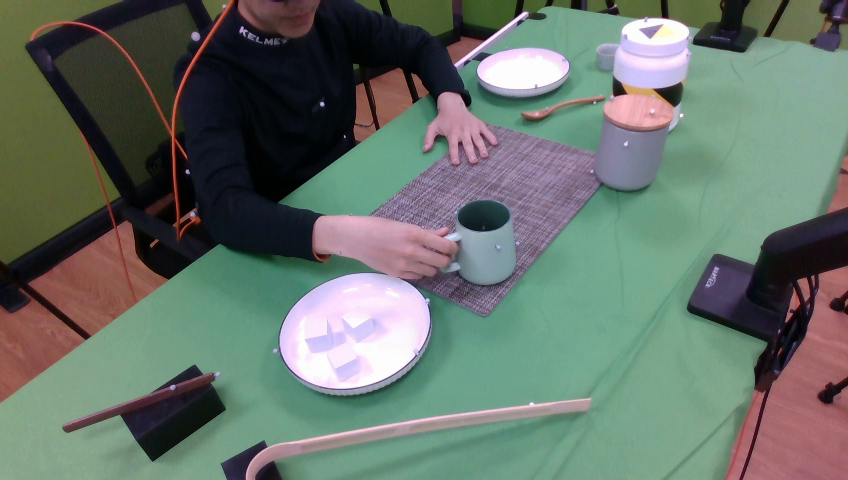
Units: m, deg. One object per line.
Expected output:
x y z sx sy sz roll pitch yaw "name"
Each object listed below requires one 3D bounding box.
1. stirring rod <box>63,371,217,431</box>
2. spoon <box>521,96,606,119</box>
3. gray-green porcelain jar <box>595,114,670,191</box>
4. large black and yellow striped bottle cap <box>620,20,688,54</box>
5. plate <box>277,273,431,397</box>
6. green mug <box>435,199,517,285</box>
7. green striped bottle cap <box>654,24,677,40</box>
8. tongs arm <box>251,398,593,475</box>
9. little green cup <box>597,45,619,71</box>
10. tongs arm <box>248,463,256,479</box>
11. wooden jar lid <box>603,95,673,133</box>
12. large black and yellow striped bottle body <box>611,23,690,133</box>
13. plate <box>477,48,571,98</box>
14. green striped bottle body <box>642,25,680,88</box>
-0.337 0.192 0.723 0.177 0.014 0.005 -18 43 -12 "stirring rod"
0.291 -0.277 1.249 0.194 0.022 0.041 -18 22 -11 "spoon"
0.346 -0.155 1.017 0.106 0.127 0.105 -2 44 2 "gray-green porcelain jar"
0.411 -0.363 1.080 0.115 0.019 0.114 -4 42 4 "large black and yellow striped bottle cap"
-0.091 0.129 0.821 0.207 0.039 0.206 -4 40 4 "plate"
0.074 0.010 0.878 0.126 0.105 0.091 -22 43 -15 "green mug"
0.495 -0.426 1.237 0.044 0.020 0.044 -5 42 5 "green striped bottle cap"
0.008 0.212 0.675 0.389 0.028 0.028 -5 46 -11 "tongs arm"
0.423 -0.413 1.376 0.061 0.039 0.061 -4 41 4 "little green cup"
0.012 0.262 0.615 0.385 0.026 0.050 2 41 -2 "tongs arm"
0.343 -0.200 0.974 0.108 0.021 0.108 -2 39 2 "wooden jar lid"
0.420 -0.299 1.132 0.131 0.185 0.130 -5 40 4 "large black and yellow striped bottle body"
0.223 -0.371 1.357 0.209 0.038 0.208 -4 41 4 "plate"
0.499 -0.387 1.271 0.063 0.120 0.063 -4 41 4 "green striped bottle body"
